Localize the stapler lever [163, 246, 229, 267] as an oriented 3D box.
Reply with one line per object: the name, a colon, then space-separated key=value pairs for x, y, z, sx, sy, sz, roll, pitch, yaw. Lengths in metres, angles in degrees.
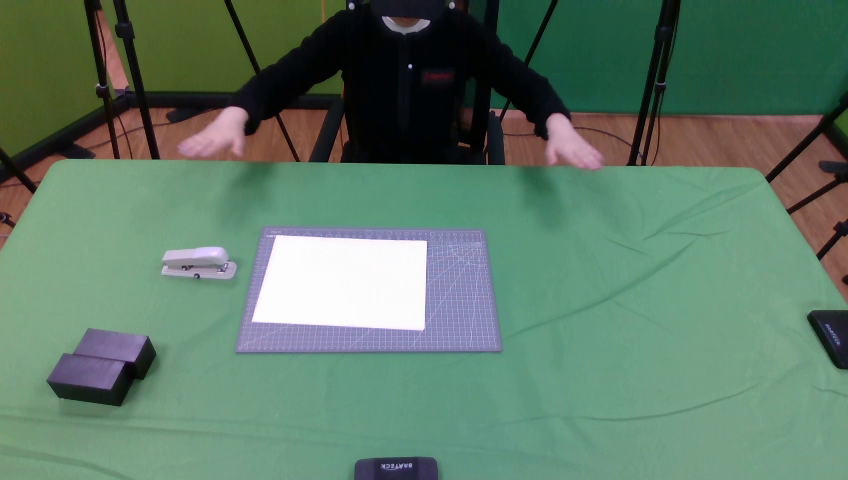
stapler lever: x=-0.415 y=0.029 z=1.103 sx=0.118 sy=0.040 sz=0.026 roll=3 pitch=43 yaw=0

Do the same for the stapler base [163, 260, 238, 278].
stapler base: x=-0.415 y=0.046 z=1.120 sx=0.130 sy=0.024 sz=0.041 roll=2 pitch=43 yaw=0
